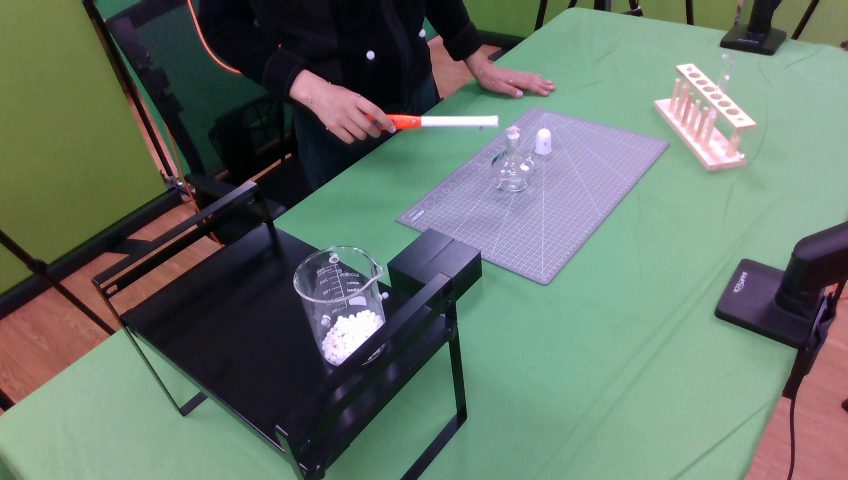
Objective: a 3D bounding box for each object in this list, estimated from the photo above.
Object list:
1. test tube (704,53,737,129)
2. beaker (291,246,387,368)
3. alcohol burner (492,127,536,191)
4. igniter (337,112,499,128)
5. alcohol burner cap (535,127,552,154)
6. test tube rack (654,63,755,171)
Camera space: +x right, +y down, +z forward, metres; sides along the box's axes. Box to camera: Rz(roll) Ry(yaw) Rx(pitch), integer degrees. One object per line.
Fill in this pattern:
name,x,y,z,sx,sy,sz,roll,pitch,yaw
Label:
test tube,0.526,-0.261,1.075,0.017,0.151,0.017,-2,44,2
beaker,-0.073,0.066,0.573,0.084,0.101,0.073,-7,41,0
alcohol burner,0.155,-0.146,1.046,0.078,0.119,0.077,-4,43,4
igniter,-0.013,-0.202,1.015,0.276,0.025,0.057,1,16,6
alcohol burner cap,0.227,-0.190,1.142,0.034,0.048,0.033,-3,40,3
test tube rack,0.510,-0.233,1.120,0.067,0.085,0.241,-8,41,-1
